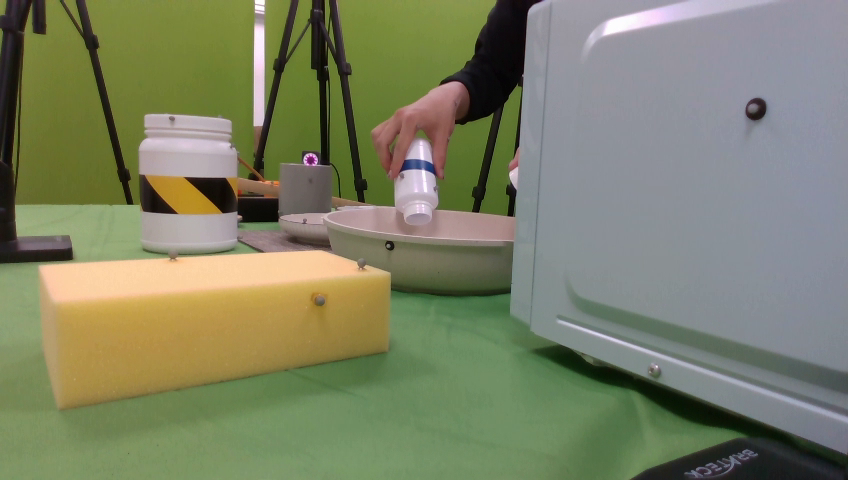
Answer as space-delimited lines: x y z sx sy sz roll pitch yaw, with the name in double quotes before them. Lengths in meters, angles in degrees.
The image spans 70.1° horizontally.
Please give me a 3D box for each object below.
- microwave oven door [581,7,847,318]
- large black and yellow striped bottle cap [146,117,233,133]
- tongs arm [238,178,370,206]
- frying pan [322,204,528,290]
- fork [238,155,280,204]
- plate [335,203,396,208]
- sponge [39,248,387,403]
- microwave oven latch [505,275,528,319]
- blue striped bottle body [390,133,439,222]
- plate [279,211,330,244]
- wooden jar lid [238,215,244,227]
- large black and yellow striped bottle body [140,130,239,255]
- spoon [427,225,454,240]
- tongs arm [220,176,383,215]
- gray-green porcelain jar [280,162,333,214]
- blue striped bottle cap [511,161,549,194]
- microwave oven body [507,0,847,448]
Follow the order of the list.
"microwave oven door" 0.295 -0.067 0.569 0.358 0.243 0.039 -3 8 -31
"large black and yellow striped bottle cap" -0.333 -0.163 0.860 0.115 0.019 0.115 1 9 0
"tongs arm" -0.241 -0.095 1.373 0.387 0.026 0.050 9 -1 -37
"frying pan" 0.109 -0.017 0.800 0.490 0.102 0.305 -12 16 -30
"fork" -0.396 -0.143 1.486 0.028 0.018 0.208 20 -26 45
"plate" -0.089 -0.053 1.309 0.208 0.039 0.207 2 8 0
"sponge" -0.142 0.047 0.420 0.208 0.061 0.117 -3 8 -37
"microwave oven latch" 0.100 0.042 0.471 0.079 0.029 0.030 -1 7 -29
"blue striped bottle body" -0.013 -0.086 0.858 0.063 0.120 0.063 -5 -25 -2
"plate" -0.139 -0.022 1.021 0.209 0.038 0.209 2 8 0
"wooden jar lid" -0.404 -0.037 1.169 0.108 0.020 0.108 3 7 0
"large black and yellow striped bottle body" -0.336 -0.078 0.871 0.131 0.184 0.130 2 8 0
"spoon" 0.024 -0.019 1.124 0.042 0.021 0.193 -16 9 -4
"tongs arm" -0.285 -0.103 1.445 0.389 0.027 0.028 9 -4 -23
"gray-green porcelain jar" -0.238 -0.092 1.221 0.106 0.126 0.106 2 7 0
"blue striped bottle cap" 0.132 -0.079 0.754 0.045 0.020 0.044 17 34 -12
"microwave oven body" 0.331 -0.042 0.425 0.444 0.260 0.324 -2 8 -31
